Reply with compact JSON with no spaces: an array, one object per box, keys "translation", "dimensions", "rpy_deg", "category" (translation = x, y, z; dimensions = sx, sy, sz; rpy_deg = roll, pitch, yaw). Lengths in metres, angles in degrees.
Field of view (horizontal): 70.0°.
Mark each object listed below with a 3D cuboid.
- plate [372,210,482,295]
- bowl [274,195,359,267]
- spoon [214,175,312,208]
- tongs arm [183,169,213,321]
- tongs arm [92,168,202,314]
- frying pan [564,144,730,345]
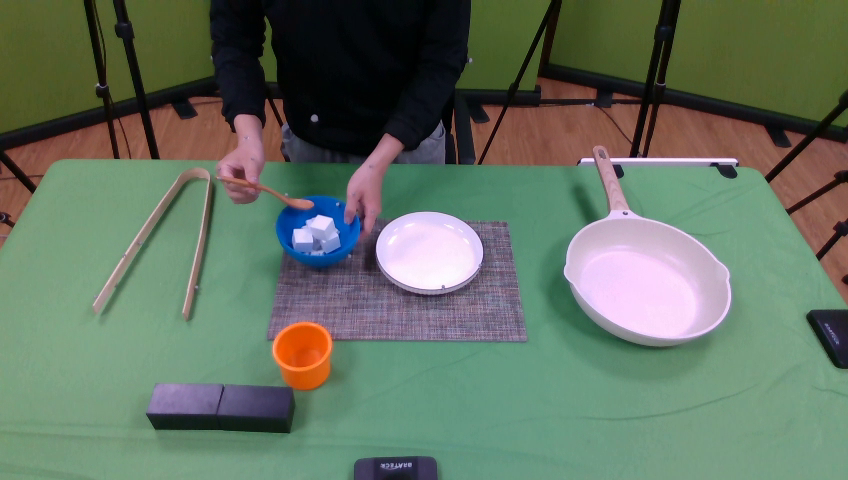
[{"translation":[0.005,0.028,1.155],"dimensions":[0.208,0.039,0.206],"rpy_deg":[3,46,-3],"category":"plate"},{"translation":[-0.195,-0.004,1.111],"dimensions":[0.151,0.077,0.150],"rpy_deg":[4,48,-5],"category":"bowl"},{"translation":[-0.273,-0.085,1.044],"dimensions":[0.195,0.021,0.041],"rpy_deg":[21,12,-47],"category":"spoon"},{"translation":[-0.436,-0.005,1.166],"dimensions":[0.028,0.028,0.385],"rpy_deg":[-5,46,-6],"category":"tongs arm"},{"translation":[-0.518,-0.012,1.160],"dimensions":[0.051,0.026,0.382],"rpy_deg":[7,45,1],"category":"tongs arm"},{"translation":[0.396,-0.008,1.179],"dimensions":[0.307,0.103,0.484],"rpy_deg":[0,55,-5],"category":"frying pan"}]
